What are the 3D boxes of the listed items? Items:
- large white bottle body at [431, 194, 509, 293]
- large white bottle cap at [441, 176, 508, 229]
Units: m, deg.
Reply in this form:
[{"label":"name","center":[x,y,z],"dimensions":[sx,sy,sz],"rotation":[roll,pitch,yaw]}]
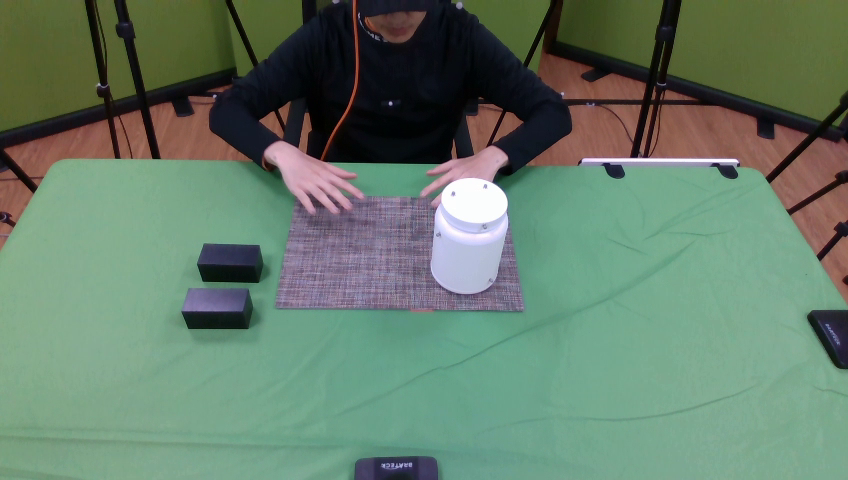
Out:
[{"label":"large white bottle body","center":[0.081,-0.007,1.091],"dimensions":[0.131,0.185,0.130],"rotation":[2,47,-2]},{"label":"large white bottle cap","center":[0.086,-0.065,1.030],"dimensions":[0.115,0.018,0.114],"rotation":[2,47,-2]}]
